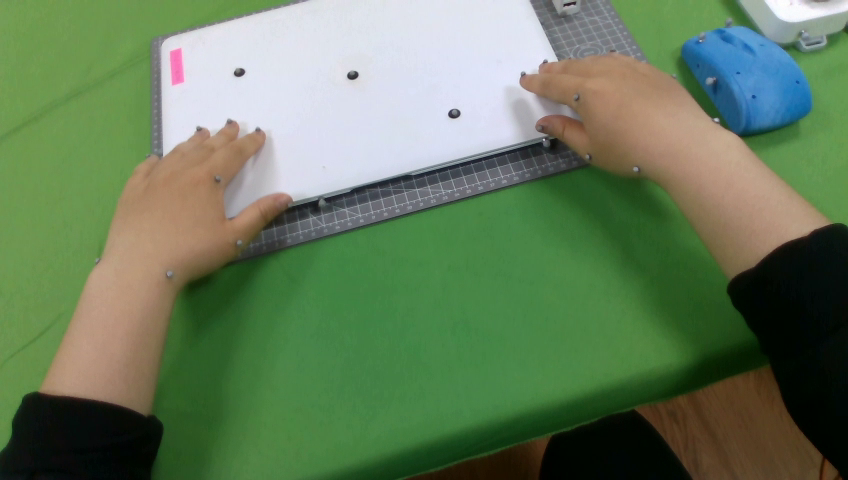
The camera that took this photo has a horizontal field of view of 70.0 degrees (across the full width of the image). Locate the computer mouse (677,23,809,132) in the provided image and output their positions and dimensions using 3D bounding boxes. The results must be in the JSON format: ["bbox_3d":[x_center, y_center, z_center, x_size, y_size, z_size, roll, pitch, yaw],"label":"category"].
[{"bbox_3d":[0.262,-0.142,0.502,0.063,0.041,0.116,-16,54,1],"label":"computer mouse"}]

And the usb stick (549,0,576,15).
[{"bbox_3d":[0.129,-0.248,0.585,0.021,0.027,0.058,-14,56,2],"label":"usb stick"}]

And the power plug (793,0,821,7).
[{"bbox_3d":[0.356,-0.225,0.518,0.072,0.053,0.035,-3,62,4],"label":"power plug"}]

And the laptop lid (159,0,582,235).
[{"bbox_3d":[-0.064,-0.145,0.543,0.357,0.013,0.239,-14,61,-1],"label":"laptop lid"}]

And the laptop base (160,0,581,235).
[{"bbox_3d":[-0.064,-0.141,0.555,0.354,0.023,0.233,-15,62,-2],"label":"laptop base"}]

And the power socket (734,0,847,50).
[{"bbox_3d":[0.315,-0.269,0.573,0.072,0.033,0.224,-13,59,1],"label":"power socket"}]
